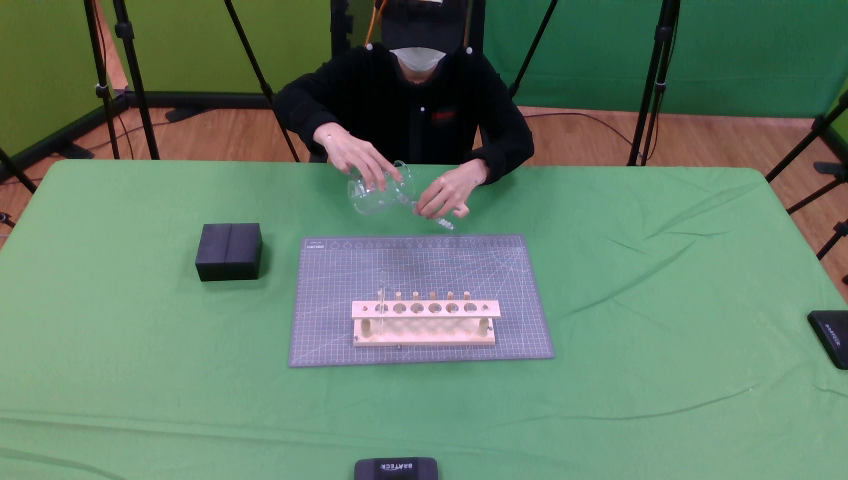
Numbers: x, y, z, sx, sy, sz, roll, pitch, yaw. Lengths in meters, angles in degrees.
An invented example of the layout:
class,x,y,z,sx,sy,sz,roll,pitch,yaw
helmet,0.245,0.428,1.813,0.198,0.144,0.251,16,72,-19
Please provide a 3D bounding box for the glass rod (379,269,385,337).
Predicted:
class,x,y,z,sx,sy,sz,roll,pitch,yaw
glass rod,-0.066,0.104,0.953,0.008,0.200,0.008,3,52,-3

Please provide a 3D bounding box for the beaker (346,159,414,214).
class,x,y,z,sx,sy,sz,roll,pitch,yaw
beaker,-0.079,-0.090,1.068,0.100,0.084,0.073,-23,38,-27

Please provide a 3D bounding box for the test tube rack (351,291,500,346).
class,x,y,z,sx,sy,sz,roll,pitch,yaw
test tube rack,0.000,0.129,1.026,0.242,0.085,0.066,0,46,-4

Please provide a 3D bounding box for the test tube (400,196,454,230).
class,x,y,z,sx,sy,sz,roll,pitch,yaw
test tube,0.008,-0.049,1.162,0.151,0.017,0.017,27,28,-43
